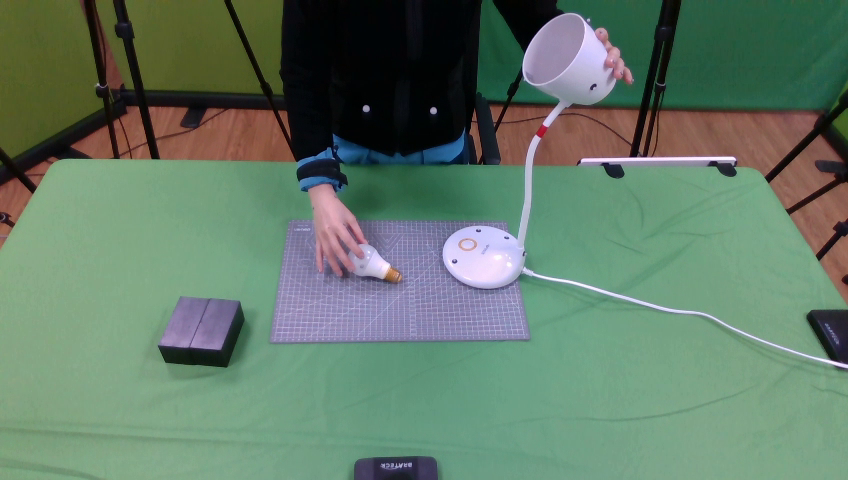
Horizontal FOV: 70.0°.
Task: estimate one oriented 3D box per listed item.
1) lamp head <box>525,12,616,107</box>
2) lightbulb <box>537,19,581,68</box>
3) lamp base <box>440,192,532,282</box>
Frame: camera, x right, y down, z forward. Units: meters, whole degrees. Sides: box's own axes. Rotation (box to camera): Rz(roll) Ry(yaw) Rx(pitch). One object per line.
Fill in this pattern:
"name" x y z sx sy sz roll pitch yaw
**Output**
"lamp head" 0.222 -0.247 0.886 0.112 0.123 0.111 -25 47 29
"lightbulb" 0.205 -0.268 0.868 0.059 0.108 0.059 -27 43 28
"lamp base" 0.127 -0.032 1.123 0.179 0.181 0.159 11 47 2
